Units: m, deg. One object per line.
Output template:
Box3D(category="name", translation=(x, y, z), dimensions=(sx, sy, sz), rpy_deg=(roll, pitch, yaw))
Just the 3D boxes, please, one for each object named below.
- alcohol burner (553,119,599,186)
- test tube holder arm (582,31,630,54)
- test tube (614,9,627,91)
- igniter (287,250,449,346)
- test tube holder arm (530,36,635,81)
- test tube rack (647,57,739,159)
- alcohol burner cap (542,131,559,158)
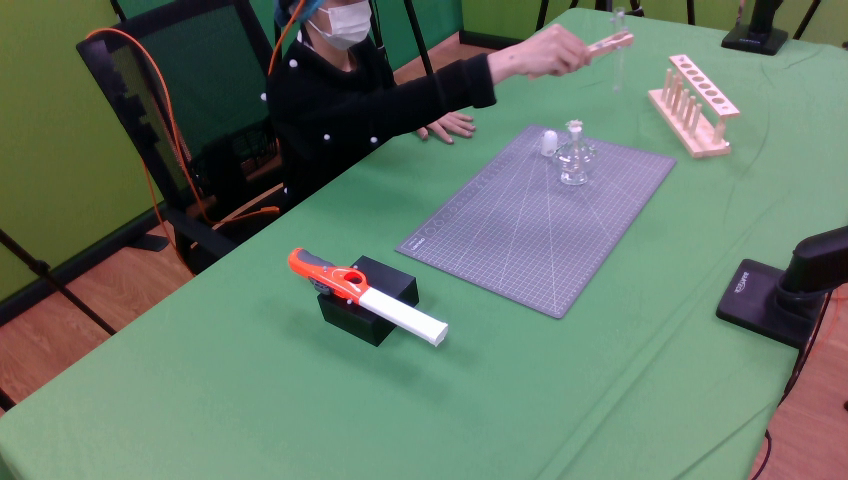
Box3D(category="alcohol burner", translation=(0.261, -0.154, 1.042), dimensions=(0.078, 0.119, 0.077), rpy_deg=(-6, 40, 6))
Box3D(category="test tube holder arm", translation=(0.292, -0.311, 0.972), dimensions=(0.088, 0.015, 0.010), rpy_deg=(-27, 48, -9))
Box3D(category="test tube", translation=(0.320, -0.306, 0.986), dimensions=(0.017, 0.151, 0.017), rpy_deg=(-7, 50, 9))
Box3D(category="igniter", translation=(-0.087, 0.073, 0.825), dimensions=(0.274, 0.025, 0.057), rpy_deg=(23, 48, 27))
Box3D(category="test tube holder arm", translation=(0.253, -0.290, 0.963), dimensions=(0.179, 0.015, 0.013), rpy_deg=(-21, 47, -4))
Box3D(category="test tube rack", translation=(0.504, -0.257, 1.153), dimensions=(0.067, 0.085, 0.241), rpy_deg=(-8, 40, 1))
Box3D(category="alcohol burner cap", translation=(0.237, -0.180, 1.134), dimensions=(0.034, 0.048, 0.033), rpy_deg=(-5, 40, 5))
